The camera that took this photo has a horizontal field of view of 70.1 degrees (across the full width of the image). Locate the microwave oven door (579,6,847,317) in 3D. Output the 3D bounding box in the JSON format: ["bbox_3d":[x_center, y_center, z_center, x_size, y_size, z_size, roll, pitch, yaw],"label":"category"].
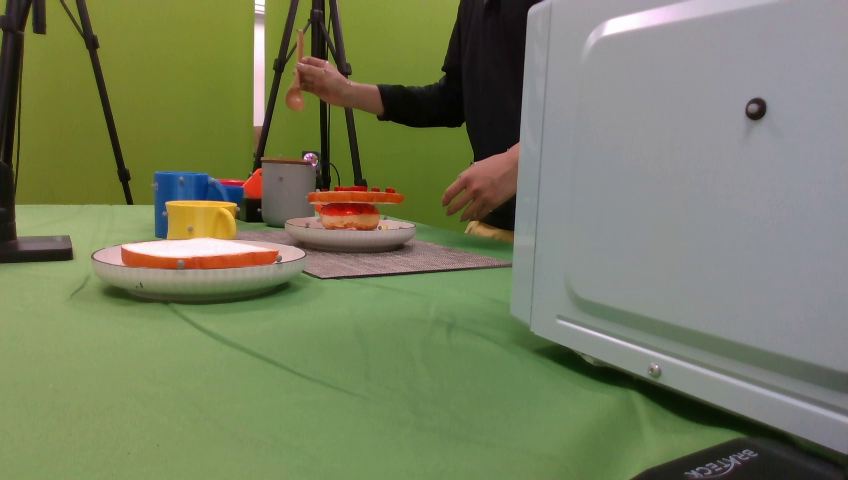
[{"bbox_3d":[0.294,-0.067,0.570,0.358,0.243,0.039,-3,9,-31],"label":"microwave oven door"}]

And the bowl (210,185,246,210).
[{"bbox_3d":[-0.422,-0.067,1.167,0.151,0.077,0.151,2,7,0],"label":"bowl"}]

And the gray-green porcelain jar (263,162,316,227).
[{"bbox_3d":[-0.271,-0.092,1.217,0.106,0.126,0.106,2,7,0],"label":"gray-green porcelain jar"}]

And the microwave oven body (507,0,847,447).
[{"bbox_3d":[0.331,-0.042,0.425,0.444,0.260,0.324,-2,8,-31],"label":"microwave oven body"}]

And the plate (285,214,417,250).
[{"bbox_3d":[-0.116,-0.014,0.964,0.209,0.038,0.209,2,8,0],"label":"plate"}]

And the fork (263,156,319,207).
[{"bbox_3d":[-0.331,-0.144,1.505,0.207,0.018,0.028,-42,-20,22],"label":"fork"}]

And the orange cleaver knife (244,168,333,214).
[{"bbox_3d":[-0.300,-0.089,1.351,0.212,0.077,0.012,28,-9,-34],"label":"orange cleaver knife"}]

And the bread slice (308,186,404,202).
[{"bbox_3d":[-0.114,-0.071,0.952,0.134,0.018,0.107,-2,0,21],"label":"bread slice"}]

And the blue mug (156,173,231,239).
[{"bbox_3d":[-0.381,-0.057,1.004,0.117,0.106,0.082,0,8,-12],"label":"blue mug"}]

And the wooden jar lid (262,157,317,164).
[{"bbox_3d":[-0.269,-0.154,1.208,0.108,0.020,0.108,3,5,0],"label":"wooden jar lid"}]

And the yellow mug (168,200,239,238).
[{"bbox_3d":[-0.320,-0.023,0.904,0.130,0.064,0.100,9,11,36],"label":"yellow mug"}]

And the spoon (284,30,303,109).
[{"bbox_3d":[-0.274,-0.369,1.305,0.042,0.193,0.021,10,-14,-26],"label":"spoon"}]

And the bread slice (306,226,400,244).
[{"bbox_3d":[-0.103,-0.009,0.961,0.131,0.019,0.105,1,8,24],"label":"bread slice"}]

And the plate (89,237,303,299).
[{"bbox_3d":[-0.233,0.029,0.636,0.208,0.039,0.207,2,7,0],"label":"plate"}]

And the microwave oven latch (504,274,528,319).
[{"bbox_3d":[0.100,0.041,0.471,0.079,0.029,0.030,-1,7,-28],"label":"microwave oven latch"}]
